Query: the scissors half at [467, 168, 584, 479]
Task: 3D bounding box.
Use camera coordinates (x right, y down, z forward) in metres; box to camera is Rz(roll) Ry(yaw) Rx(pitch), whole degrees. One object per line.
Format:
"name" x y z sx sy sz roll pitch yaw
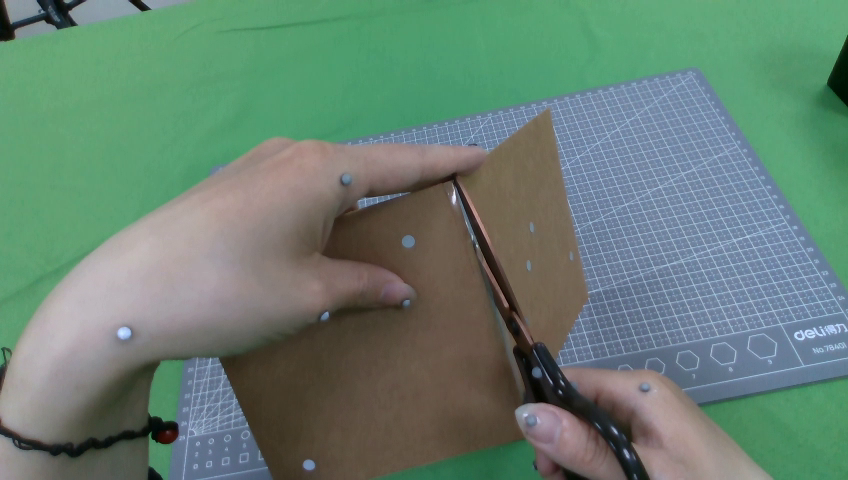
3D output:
"scissors half" 0.045 0.050 0.286 0.013 0.176 0.040 -20 13 -19

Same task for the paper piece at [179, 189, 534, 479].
"paper piece" -0.032 0.058 0.295 0.138 0.136 0.008 -17 9 7

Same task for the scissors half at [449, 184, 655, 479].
"scissors half" 0.052 0.046 0.264 0.013 0.040 0.174 -20 67 -23

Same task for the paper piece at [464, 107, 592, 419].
"paper piece" 0.068 0.006 0.343 0.004 0.136 0.135 -4 22 32
